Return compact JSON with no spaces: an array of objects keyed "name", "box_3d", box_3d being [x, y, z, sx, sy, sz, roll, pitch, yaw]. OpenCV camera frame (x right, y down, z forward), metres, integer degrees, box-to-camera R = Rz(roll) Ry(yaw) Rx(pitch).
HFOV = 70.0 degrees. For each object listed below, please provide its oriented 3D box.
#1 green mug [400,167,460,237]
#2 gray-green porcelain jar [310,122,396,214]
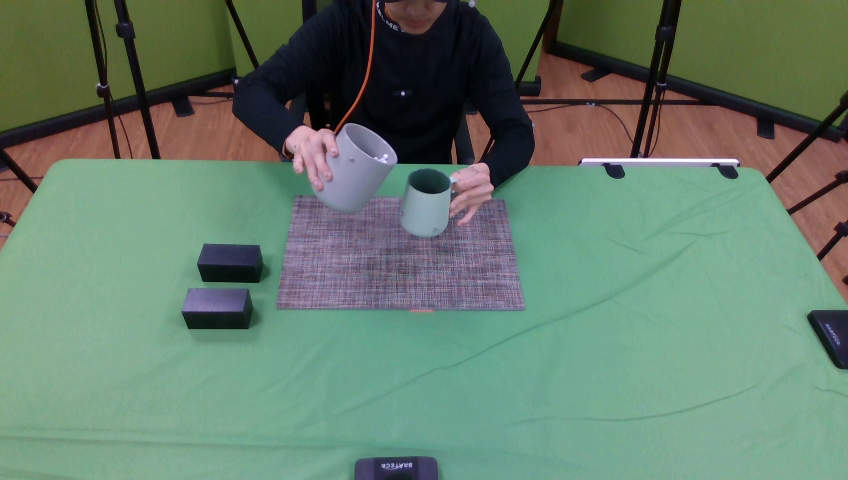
[{"name":"green mug","box_3d":[0.017,-0.074,1.109,0.125,0.105,0.092,-28,55,-34]},{"name":"gray-green porcelain jar","box_3d":[-0.124,-0.116,1.022,0.106,0.126,0.105,29,28,-17]}]
